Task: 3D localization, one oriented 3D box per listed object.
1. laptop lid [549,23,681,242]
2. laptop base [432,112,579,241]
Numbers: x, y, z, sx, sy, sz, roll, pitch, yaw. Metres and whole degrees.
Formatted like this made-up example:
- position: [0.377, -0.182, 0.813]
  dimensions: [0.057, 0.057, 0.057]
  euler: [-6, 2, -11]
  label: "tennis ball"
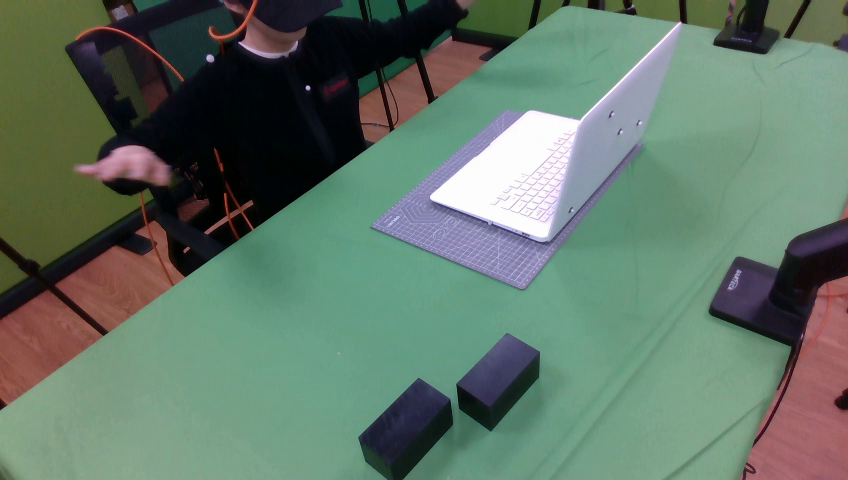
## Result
- position: [0.304, -0.172, 0.951]
  dimensions: [0.013, 0.242, 0.358]
  euler: [30, 51, 24]
  label: "laptop lid"
- position: [0.208, -0.129, 1.098]
  dimensions: [0.233, 0.023, 0.355]
  euler: [20, 47, 34]
  label: "laptop base"
